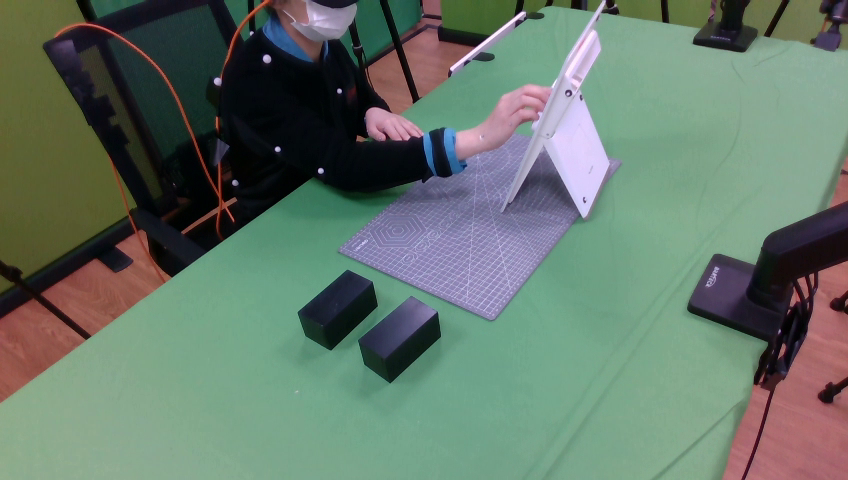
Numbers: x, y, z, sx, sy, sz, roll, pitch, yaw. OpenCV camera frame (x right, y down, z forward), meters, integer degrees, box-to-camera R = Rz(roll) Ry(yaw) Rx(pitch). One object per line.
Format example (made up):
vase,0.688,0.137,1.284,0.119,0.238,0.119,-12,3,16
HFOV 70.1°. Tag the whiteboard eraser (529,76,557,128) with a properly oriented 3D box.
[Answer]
whiteboard eraser,0.199,-0.223,0.981,0.019,0.041,0.101,29,73,11

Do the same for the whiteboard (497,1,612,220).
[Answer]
whiteboard,0.259,-0.177,0.963,0.143,0.306,0.217,28,48,9
